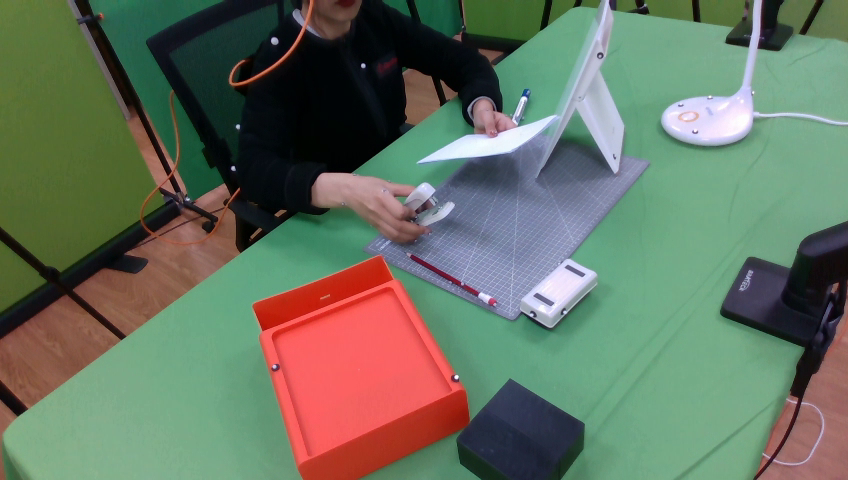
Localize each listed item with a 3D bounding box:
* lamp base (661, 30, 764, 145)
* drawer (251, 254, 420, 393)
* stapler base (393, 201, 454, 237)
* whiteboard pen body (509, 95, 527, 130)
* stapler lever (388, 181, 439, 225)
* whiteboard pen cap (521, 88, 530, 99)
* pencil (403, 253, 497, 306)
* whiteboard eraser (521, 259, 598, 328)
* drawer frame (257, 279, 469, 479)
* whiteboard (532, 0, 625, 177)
[{"bbox_3d":[0.535,-0.287,1.096,0.179,0.181,0.159,-10,40,-4],"label":"lamp base"},{"bbox_3d":[-0.106,0.135,0.798,0.195,0.073,0.210,-20,42,-14],"label":"drawer"},{"bbox_3d":[-0.006,-0.039,0.967,0.130,0.024,0.041,-24,12,48],"label":"stapler base"},{"bbox_3d":[0.199,-0.272,1.262,0.017,0.017,0.140,7,44,18],"label":"whiteboard pen body"},{"bbox_3d":[-0.022,-0.059,0.963,0.117,0.040,0.027,-24,12,48],"label":"stapler lever"},{"bbox_3d":[0.219,-0.312,1.301,0.018,0.018,0.033,6,47,17],"label":"whiteboard pen cap"},{"bbox_3d":[0.034,0.056,0.914,0.192,0.012,0.012,27,52,38],"label":"pencil"},{"bbox_3d":[0.189,0.076,0.843,0.055,0.042,0.113,29,53,37],"label":"whiteboard eraser"},{"bbox_3d":[-0.080,0.169,0.751,0.202,0.083,0.211,-21,42,-15],"label":"drawer frame"},{"bbox_3d":[0.321,-0.258,1.050,0.144,0.306,0.217,21,45,5],"label":"whiteboard"}]
